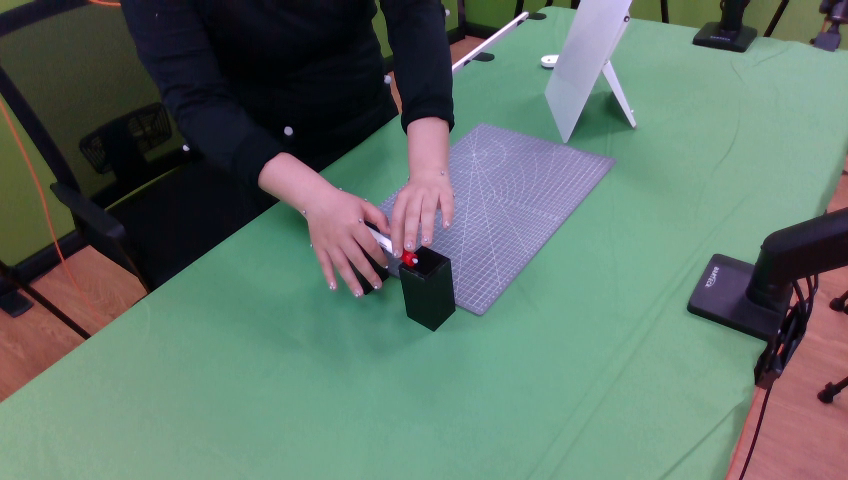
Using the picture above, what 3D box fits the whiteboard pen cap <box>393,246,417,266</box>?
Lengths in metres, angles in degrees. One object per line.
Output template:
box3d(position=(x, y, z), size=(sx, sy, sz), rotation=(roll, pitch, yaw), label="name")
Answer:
box3d(position=(-0.026, 0.020, 0.798), size=(0.017, 0.017, 0.032), rotation=(-36, 46, -29), label="whiteboard pen cap")

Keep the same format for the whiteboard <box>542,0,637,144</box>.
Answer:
box3d(position=(0.366, -0.351, 1.160), size=(0.144, 0.305, 0.216), rotation=(10, 39, -10), label="whiteboard")

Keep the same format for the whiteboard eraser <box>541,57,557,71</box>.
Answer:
box3d(position=(0.323, -0.412, 1.407), size=(0.101, 0.019, 0.041), rotation=(1, 41, 11), label="whiteboard eraser")

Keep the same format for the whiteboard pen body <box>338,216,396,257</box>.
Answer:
box3d(position=(-0.069, -0.001, 0.833), size=(0.139, 0.017, 0.017), rotation=(29, 52, 33), label="whiteboard pen body")
